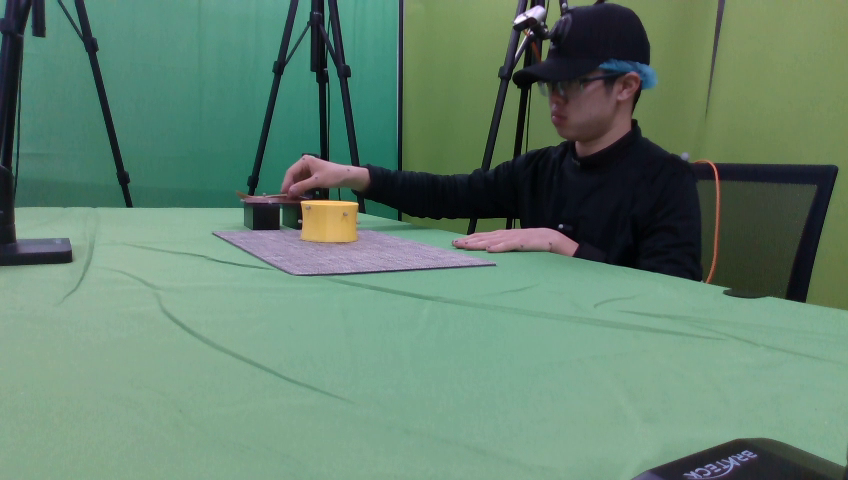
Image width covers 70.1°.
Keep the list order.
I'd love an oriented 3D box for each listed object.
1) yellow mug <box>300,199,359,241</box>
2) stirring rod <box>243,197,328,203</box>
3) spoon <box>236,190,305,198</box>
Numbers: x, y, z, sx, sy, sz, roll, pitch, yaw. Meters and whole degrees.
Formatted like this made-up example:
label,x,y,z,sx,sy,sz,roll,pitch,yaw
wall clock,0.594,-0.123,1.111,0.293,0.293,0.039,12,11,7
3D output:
label,x,y,z,sx,sy,sz,roll,pitch,yaw
yellow mug,-0.156,-0.036,1.060,0.099,0.064,0.131,6,7,27
stirring rod,-0.271,-0.079,1.201,0.177,0.006,0.014,-2,46,-35
spoon,-0.290,-0.088,1.248,0.195,0.021,0.041,1,6,-31
